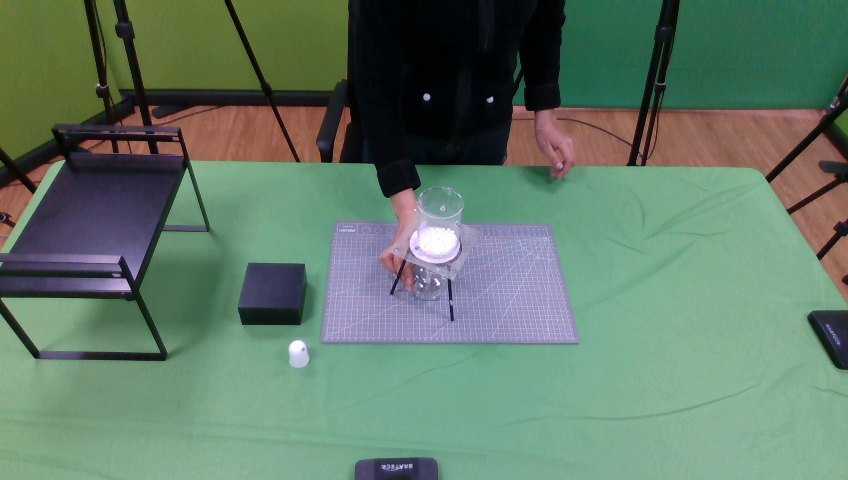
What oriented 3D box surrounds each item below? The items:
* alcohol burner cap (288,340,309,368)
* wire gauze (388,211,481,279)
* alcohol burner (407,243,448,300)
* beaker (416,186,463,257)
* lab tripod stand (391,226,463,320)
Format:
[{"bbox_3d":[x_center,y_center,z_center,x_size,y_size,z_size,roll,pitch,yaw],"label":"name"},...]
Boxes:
[{"bbox_3d":[-0.207,0.183,0.991,0.034,0.048,0.033,3,47,-2],"label":"alcohol burner cap"},{"bbox_3d":[0.018,0.003,1.020,0.125,0.011,0.121,20,47,18],"label":"wire gauze"},{"bbox_3d":[0.009,0.051,1.077,0.078,0.120,0.077,1,45,-1],"label":"alcohol burner"},{"bbox_3d":[0.024,-0.029,0.984,0.074,0.101,0.083,19,48,14],"label":"beaker"},{"bbox_3d":[0.014,0.053,1.063,0.148,0.132,0.147,1,48,-1],"label":"lab tripod stand"}]
